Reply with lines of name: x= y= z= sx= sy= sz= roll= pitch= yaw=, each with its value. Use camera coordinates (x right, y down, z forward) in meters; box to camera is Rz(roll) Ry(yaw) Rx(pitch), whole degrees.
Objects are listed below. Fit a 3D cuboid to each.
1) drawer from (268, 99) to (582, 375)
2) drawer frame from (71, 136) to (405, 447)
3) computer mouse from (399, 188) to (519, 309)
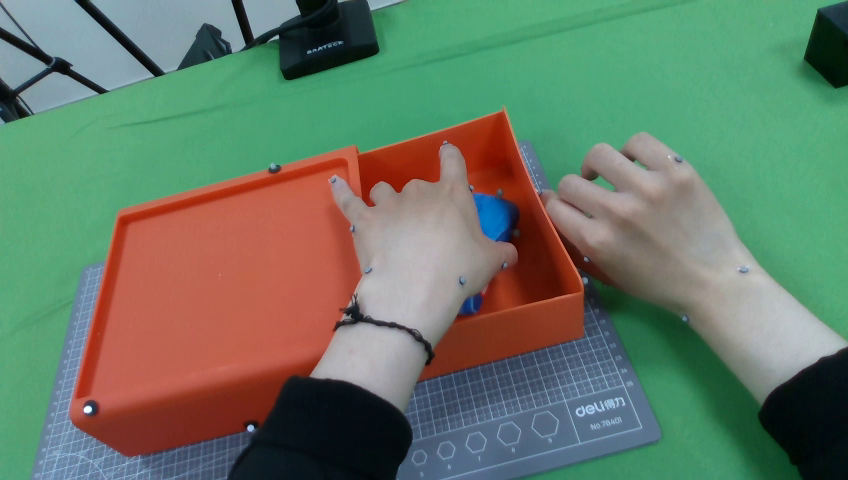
drawer: x=-0.009 y=0.000 z=0.465 sx=0.212 sy=0.074 sz=0.192 roll=-15 pitch=51 yaw=2
drawer frame: x=-0.133 y=0.034 z=0.472 sx=0.213 sy=0.083 sz=0.199 roll=-15 pitch=50 yaw=4
computer mouse: x=0.028 y=0.000 z=0.475 sx=0.062 sy=0.041 sz=0.116 roll=12 pitch=53 yaw=27
